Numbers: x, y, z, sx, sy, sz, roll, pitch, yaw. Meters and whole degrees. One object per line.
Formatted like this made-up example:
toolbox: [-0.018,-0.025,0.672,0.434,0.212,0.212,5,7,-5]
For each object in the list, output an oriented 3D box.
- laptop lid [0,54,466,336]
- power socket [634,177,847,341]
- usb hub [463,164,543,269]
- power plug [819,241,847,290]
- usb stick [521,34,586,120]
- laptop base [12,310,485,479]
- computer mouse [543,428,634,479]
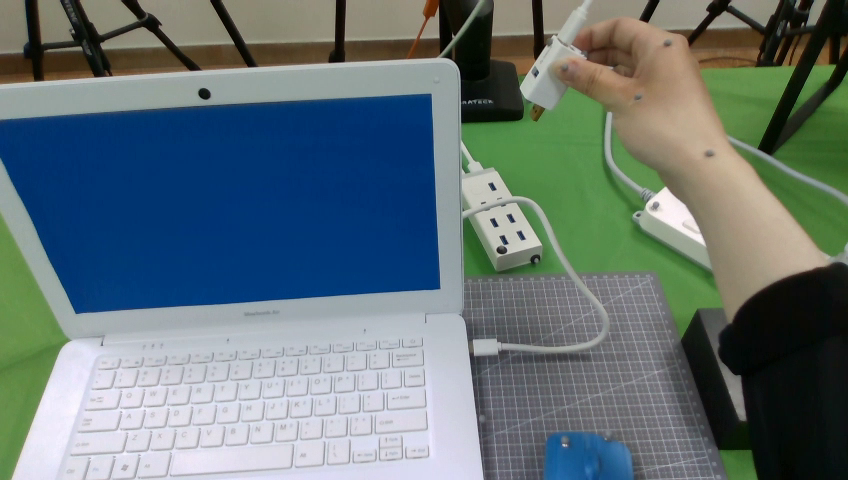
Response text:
laptop lid: [-0.145,-0.020,0.474,0.357,0.244,0.013,-5,35,0]
power socket: [0.312,0.011,0.577,0.072,0.033,0.224,-35,55,-27]
usb hub: [0.074,-0.027,0.624,0.049,0.025,0.123,-15,49,-10]
power plug: [0.383,0.019,0.536,0.072,0.053,0.035,-28,52,-19]
usb stick: [0.090,-0.117,0.443,0.027,0.059,0.021,13,37,-21]
laptop base: [-0.132,0.165,0.465,0.354,0.023,0.233,-4,52,-1]
computer mouse: [0.114,0.184,0.422,0.062,0.041,0.116,7,44,11]
